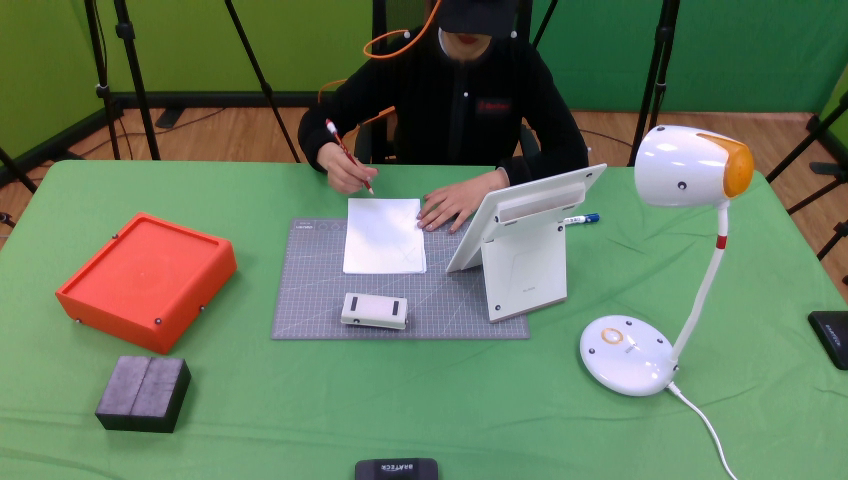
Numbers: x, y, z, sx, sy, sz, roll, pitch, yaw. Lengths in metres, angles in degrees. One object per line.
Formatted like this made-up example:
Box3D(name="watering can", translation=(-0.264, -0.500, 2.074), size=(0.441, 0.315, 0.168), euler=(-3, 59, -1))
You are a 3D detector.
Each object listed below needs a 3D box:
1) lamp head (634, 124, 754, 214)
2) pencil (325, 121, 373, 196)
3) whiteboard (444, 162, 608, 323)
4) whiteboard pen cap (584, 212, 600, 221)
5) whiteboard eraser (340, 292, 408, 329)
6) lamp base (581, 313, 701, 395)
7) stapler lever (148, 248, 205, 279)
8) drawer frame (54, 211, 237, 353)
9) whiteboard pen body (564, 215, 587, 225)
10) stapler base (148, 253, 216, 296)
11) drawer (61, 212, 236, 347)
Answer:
Box3D(name="lamp head", translation=(0.351, -0.089, 0.775), size=(0.112, 0.113, 0.122), euler=(-30, 30, -28))
Box3D(name="pencil", translation=(-0.145, -0.158, 1.171), size=(0.012, 0.012, 0.193), euler=(-24, 68, -24))
Box3D(name="whiteboard", translation=(0.186, 0.026, 1.028), size=(0.217, 0.306, 0.143), euler=(-14, 68, -17))
Box3D(name="whiteboard pen cap", translation=(0.351, -0.048, 1.271), size=(0.033, 0.018, 0.018), euler=(-6, 47, -11))
Box3D(name="whiteboard eraser", translation=(-0.087, 0.125, 1.052), size=(0.113, 0.042, 0.055), euler=(5, 45, 1))
Box3D(name="lamp base", translation=(0.361, 0.144, 0.973), size=(0.178, 0.181, 0.160), euler=(34, 53, 23))
Box3D(name="stapler lever", translation=(-0.444, 0.038, 1.083), size=(0.118, 0.040, 0.027), euler=(19, 51, 18))
Box3D(name="drawer frame", translation=(-0.473, 0.067, 1.055), size=(0.201, 0.083, 0.212), euler=(17, 48, 11))
Box3D(name="whiteboard pen body", translation=(0.291, -0.040, 1.261), size=(0.141, 0.017, 0.017), euler=(-6, 47, -11))
Box3D(name="stapler base", translation=(-0.443, 0.058, 1.108), size=(0.130, 0.024, 0.041), euler=(24, 52, 12))
Box3D(name="drawer", translation=(-0.473, 0.064, 1.060), size=(0.194, 0.073, 0.211), euler=(18, 48, 11))
